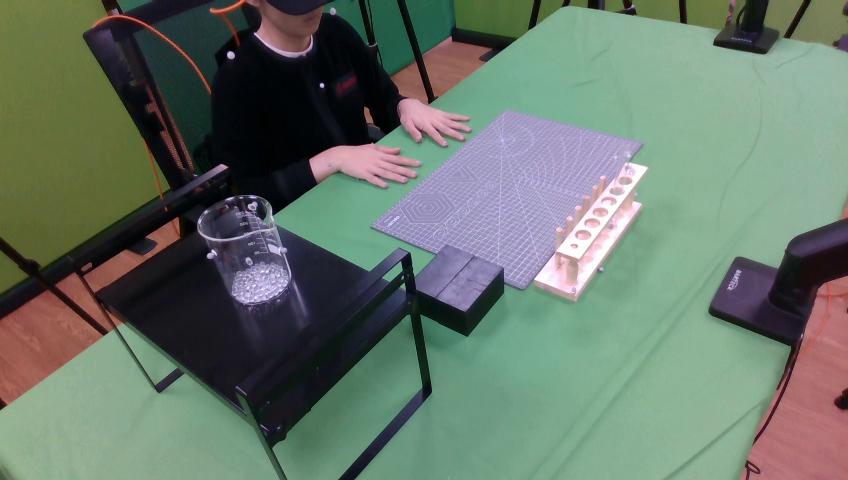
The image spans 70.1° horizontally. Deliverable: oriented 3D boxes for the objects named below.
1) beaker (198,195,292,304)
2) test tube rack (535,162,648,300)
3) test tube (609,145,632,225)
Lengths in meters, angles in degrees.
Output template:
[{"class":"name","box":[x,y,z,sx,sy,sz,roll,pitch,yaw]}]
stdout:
[{"class":"beaker","box":[-0.185,0.014,0.651,0.083,0.101,0.074,9,44,18]},{"class":"test tube rack","box":[0.257,-0.024,0.916,0.066,0.085,0.243,22,49,30]},{"class":"test tube","box":[0.290,-0.078,0.897,0.017,0.151,0.017,-4,46,5]}]
